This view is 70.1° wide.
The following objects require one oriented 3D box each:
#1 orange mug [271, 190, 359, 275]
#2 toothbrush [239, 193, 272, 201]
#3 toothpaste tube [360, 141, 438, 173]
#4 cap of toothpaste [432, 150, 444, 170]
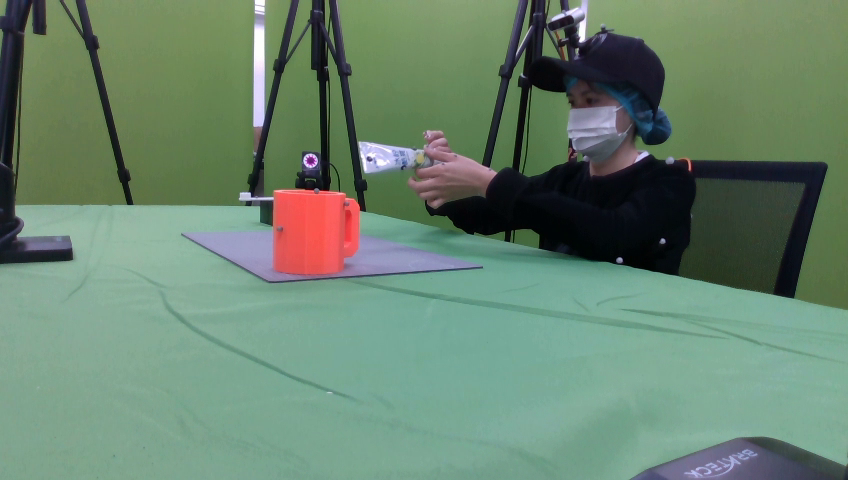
[{"bbox_3d":[-0.131,-0.013,0.754,0.083,0.101,0.127,8,13,38],"label":"orange mug"},{"bbox_3d":[-0.286,-0.087,1.236,0.183,0.016,0.014,-1,4,-30],"label":"toothbrush"},{"bbox_3d":[-0.038,-0.140,1.028,0.166,0.055,0.034,-6,-17,-44],"label":"toothpaste tube"},{"bbox_3d":[0.020,-0.144,1.082,0.037,0.037,0.011,10,13,43],"label":"cap of toothpaste"}]
